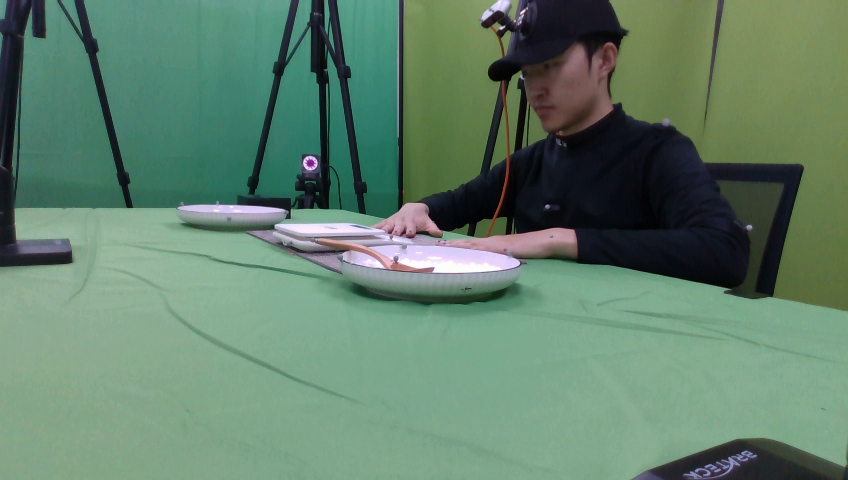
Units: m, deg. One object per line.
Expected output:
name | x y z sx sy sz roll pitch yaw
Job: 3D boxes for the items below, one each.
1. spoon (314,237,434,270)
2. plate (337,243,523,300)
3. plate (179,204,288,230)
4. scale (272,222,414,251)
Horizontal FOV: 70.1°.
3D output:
spoon | -0.064 0.015 0.695 0.192 0.021 0.042 18 16 42
plate | 0.007 0.035 0.688 0.209 0.038 0.209 2 6 0
plate | -0.382 -0.046 1.222 0.208 0.039 0.207 2 7 0
scale | -0.131 -0.008 0.984 0.202 0.031 0.148 -2 8 -32
